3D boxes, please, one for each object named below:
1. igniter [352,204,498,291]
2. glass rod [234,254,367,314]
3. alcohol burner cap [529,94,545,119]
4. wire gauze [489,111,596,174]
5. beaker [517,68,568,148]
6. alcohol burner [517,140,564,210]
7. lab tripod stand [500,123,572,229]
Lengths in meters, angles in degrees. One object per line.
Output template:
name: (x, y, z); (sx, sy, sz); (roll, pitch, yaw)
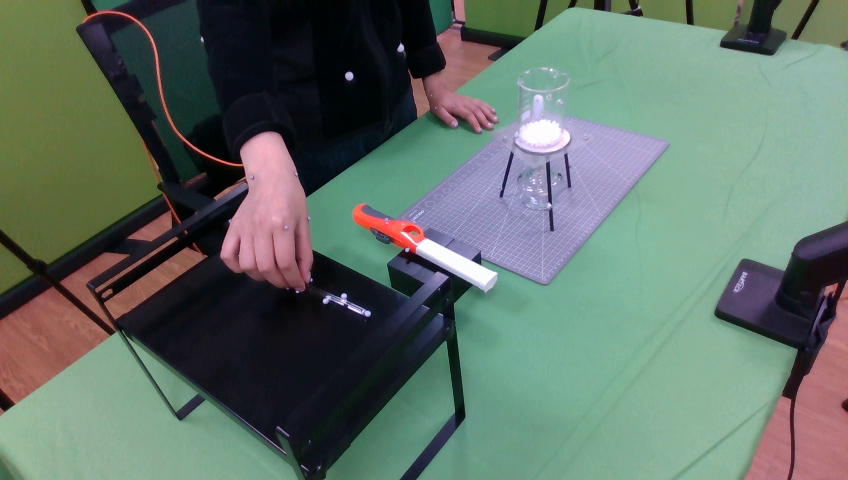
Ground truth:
igniter: (-0.009, 0.005, 0.895); (0.274, 0.025, 0.057); (27, 48, 32)
glass rod: (-0.142, 0.046, 0.672); (0.198, 0.008, 0.008); (19, 47, 28)
alcohol burner cap: (0.233, -0.277, 1.247); (0.034, 0.048, 0.033); (-5, 41, 5)
wire gauze: (0.183, -0.159, 0.943); (0.122, 0.011, 0.124); (-25, 47, -17)
beaker: (0.179, -0.198, 0.914); (0.073, 0.100, 0.084); (25, 49, 31)
alcohol burner: (0.193, -0.110, 1.001); (0.078, 0.119, 0.077); (-5, 38, 5)
lab tripod stand: (0.194, -0.110, 0.985); (0.148, 0.132, 0.147); (-3, 42, 3)
